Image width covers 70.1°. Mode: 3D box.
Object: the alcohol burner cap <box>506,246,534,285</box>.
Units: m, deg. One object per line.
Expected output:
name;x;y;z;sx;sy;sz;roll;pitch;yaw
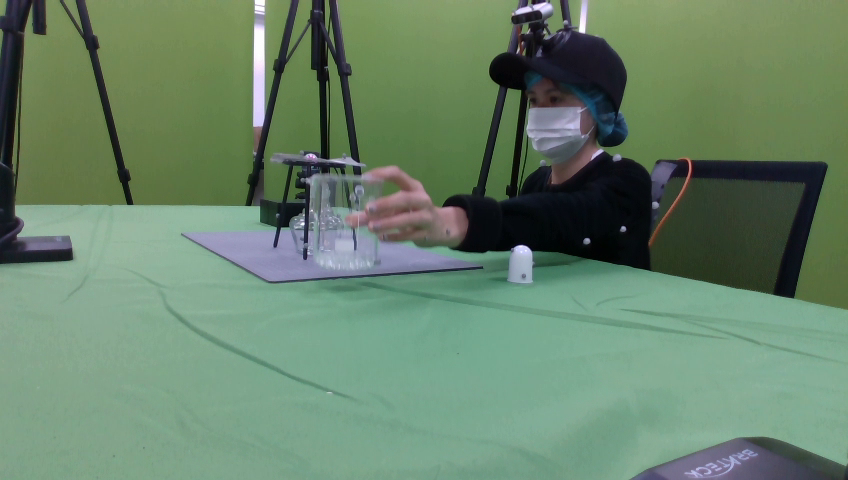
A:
alcohol burner cap;0.119;0.031;0.740;0.034;0.048;0.034;2;8;0

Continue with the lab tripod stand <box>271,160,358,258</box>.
lab tripod stand;-0.160;-0.048;0.876;0.148;0.131;0.148;3;5;0

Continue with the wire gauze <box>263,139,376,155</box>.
wire gauze;-0.151;-0.130;0.869;0.122;0.011;0.124;-8;5;-35

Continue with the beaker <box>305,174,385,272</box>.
beaker;-0.086;-0.019;0.647;0.084;0.100;0.074;2;5;-17

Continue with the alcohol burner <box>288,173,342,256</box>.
alcohol burner;-0.157;-0.037;0.871;0.078;0.119;0.078;1;6;0
